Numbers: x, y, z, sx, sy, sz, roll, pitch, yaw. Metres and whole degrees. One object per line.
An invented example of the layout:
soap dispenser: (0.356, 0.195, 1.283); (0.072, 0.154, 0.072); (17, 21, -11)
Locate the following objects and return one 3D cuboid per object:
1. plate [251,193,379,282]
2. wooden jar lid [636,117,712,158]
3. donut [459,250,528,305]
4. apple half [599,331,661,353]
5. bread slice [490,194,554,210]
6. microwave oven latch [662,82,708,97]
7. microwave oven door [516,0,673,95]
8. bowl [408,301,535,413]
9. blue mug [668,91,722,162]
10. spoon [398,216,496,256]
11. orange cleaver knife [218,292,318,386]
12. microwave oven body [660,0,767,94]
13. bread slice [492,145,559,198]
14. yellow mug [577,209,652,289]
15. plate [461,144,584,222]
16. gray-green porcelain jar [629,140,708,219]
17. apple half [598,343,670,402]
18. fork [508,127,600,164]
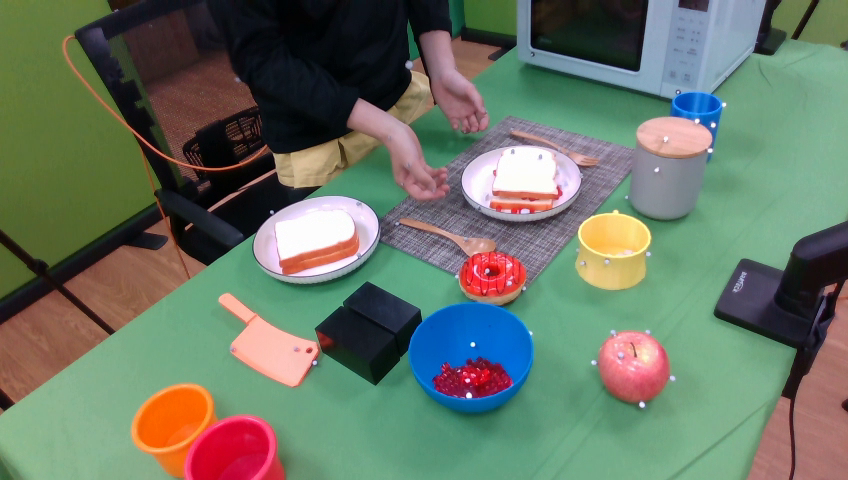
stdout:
plate: (-0.174, -0.001, 0.984); (0.209, 0.038, 0.208); (-4, 40, 4)
wooden jar lid: (0.377, -0.151, 0.917); (0.108, 0.021, 0.108); (-2, 41, 2)
donut: (0.100, 0.053, 0.873); (0.099, 0.048, 0.098); (-4, 40, 4)
apple half: (0.249, 0.134, 0.738); (0.081, 0.081, 0.032); (-1, 46, 7)
bread slice: (0.173, -0.099, 1.047); (0.104, 0.019, 0.131); (2, 43, 12)
microwave oven latch: (0.517, -0.298, 1.202); (0.078, 0.029, 0.030); (27, 52, 34)
microwave oven door: (0.344, -0.458, 1.256); (0.353, 0.245, 0.039); (26, 51, 33)
bowl: (0.060, 0.156, 0.739); (0.151, 0.077, 0.150); (-4, 40, 4)
blue mug: (0.474, -0.207, 1.078); (0.082, 0.106, 0.116); (4, 42, 13)
spoon: (0.033, -0.011, 0.973); (0.192, 0.022, 0.041); (22, 72, 30)
orange cleaver knife: (-0.235, 0.136, 0.850); (0.209, 0.012, 0.077); (25, 57, 30)
microwave oven body: (0.473, -0.516, 1.313); (0.438, 0.261, 0.327); (26, 51, 34)
bread slice: (0.172, -0.118, 1.027); (0.107, 0.018, 0.134); (3, 43, 7)
yellow mug: (0.279, 0.005, 0.893); (0.099, 0.064, 0.130); (5, 41, 15)
plate: (0.168, -0.095, 1.040); (0.207, 0.039, 0.206); (-4, 41, 4)
gray-green porcelain jar: (0.383, -0.104, 0.958); (0.106, 0.127, 0.105); (-4, 41, 4)
apple half: (0.247, 0.161, 0.710); (0.081, 0.075, 0.053); (1, 47, 5)
fork: (0.240, -0.180, 1.142); (0.205, 0.019, 0.028); (32, 62, 34)
